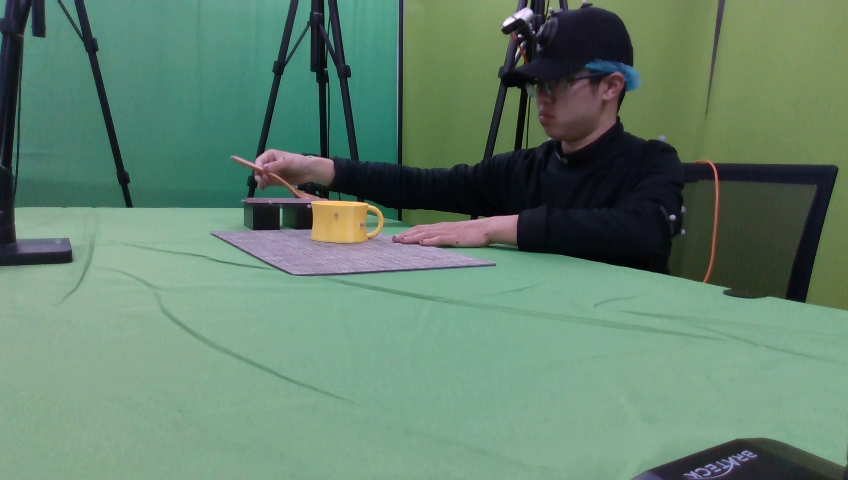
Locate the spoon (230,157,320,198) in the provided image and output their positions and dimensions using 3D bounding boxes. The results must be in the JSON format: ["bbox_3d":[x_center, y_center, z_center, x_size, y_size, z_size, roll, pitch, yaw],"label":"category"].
[{"bbox_3d":[-0.300,-0.123,1.227,0.194,0.021,0.041,30,19,-20],"label":"spoon"}]

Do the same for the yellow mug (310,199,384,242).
[{"bbox_3d":[-0.132,-0.035,1.054,0.131,0.064,0.099,0,8,-23],"label":"yellow mug"}]

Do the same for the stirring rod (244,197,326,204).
[{"bbox_3d":[-0.270,-0.078,1.201,0.177,0.006,0.014,-2,43,-37],"label":"stirring rod"}]
